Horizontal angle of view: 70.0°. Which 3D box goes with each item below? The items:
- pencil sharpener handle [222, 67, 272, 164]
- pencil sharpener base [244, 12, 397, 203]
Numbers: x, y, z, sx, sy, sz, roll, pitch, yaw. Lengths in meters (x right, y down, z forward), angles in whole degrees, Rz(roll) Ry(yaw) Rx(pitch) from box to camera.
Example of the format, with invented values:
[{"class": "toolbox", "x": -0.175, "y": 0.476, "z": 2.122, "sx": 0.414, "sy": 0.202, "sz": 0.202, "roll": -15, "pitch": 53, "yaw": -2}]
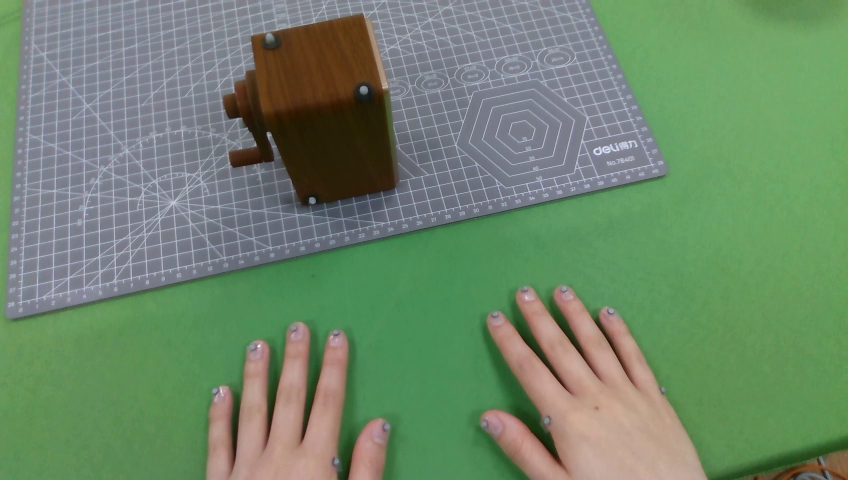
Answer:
[{"class": "pencil sharpener handle", "x": -0.112, "y": -0.070, "z": 0.365, "sx": 0.031, "sy": 0.068, "sz": 0.035, "roll": -13, "pitch": 59, "yaw": -5}, {"class": "pencil sharpener base", "x": -0.062, "y": -0.078, "z": 0.381, "sx": 0.077, "sy": 0.108, "sz": 0.061, "roll": -13, "pitch": 65, "yaw": -5}]
